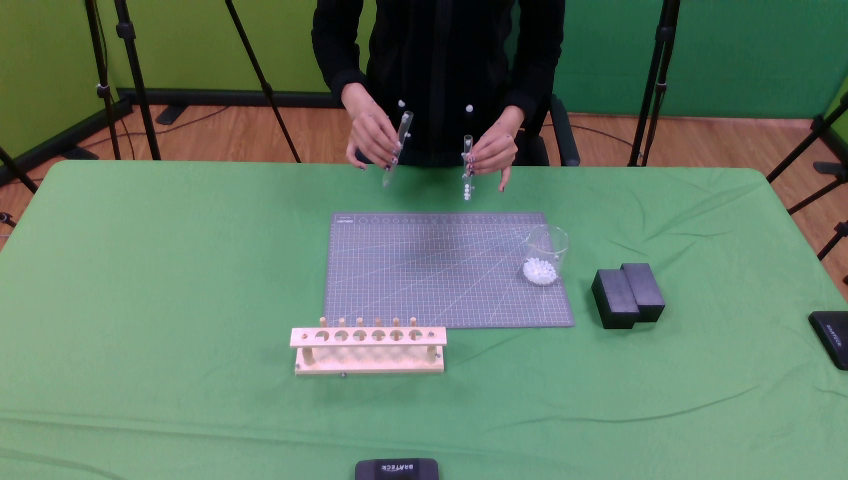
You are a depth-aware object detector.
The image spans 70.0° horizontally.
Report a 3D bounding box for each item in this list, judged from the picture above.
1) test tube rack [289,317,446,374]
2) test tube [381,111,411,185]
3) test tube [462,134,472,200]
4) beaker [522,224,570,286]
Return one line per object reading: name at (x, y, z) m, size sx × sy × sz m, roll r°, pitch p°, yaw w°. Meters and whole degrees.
test tube rack at (-0.089, 0.167, 0.988) m, size 0.242 × 0.085 × 0.066 m, roll 0°, pitch 46°, yaw -4°
test tube at (-0.050, -0.157, 1.054) m, size 0.017 × 0.151 × 0.017 m, roll 13°, pitch 39°, yaw -11°
test tube at (0.079, -0.130, 1.117) m, size 0.017 × 0.151 × 0.017 m, roll -1°, pitch 47°, yaw 1°
beaker at (0.221, 0.032, 1.129) m, size 0.084 × 0.101 × 0.073 m, roll -6°, pitch 46°, yaw -9°
